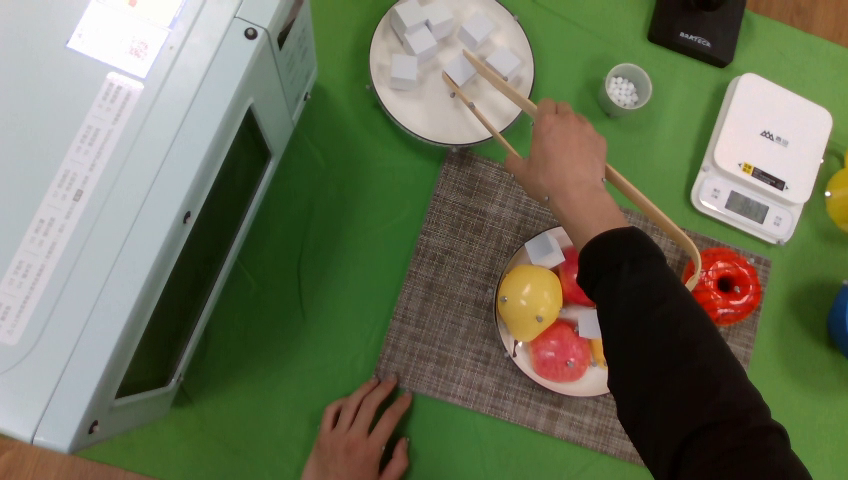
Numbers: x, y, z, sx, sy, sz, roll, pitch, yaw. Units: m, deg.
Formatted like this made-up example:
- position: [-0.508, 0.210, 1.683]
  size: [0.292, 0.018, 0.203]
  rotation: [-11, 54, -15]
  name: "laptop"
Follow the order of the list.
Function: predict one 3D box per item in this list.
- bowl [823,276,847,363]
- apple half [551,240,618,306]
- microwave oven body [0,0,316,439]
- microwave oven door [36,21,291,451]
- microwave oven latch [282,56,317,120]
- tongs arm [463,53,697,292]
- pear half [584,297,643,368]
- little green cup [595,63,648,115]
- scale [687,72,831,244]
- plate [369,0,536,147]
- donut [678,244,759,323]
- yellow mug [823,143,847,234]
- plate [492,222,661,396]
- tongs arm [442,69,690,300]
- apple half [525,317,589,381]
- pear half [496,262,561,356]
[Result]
- position: [0.567, 0.104, 0.765]
  size: [0.152, 0.077, 0.151]
  rotation: [1, 83, -7]
  name: "bowl"
- position: [0.194, 0.038, 0.724]
  size: [0.075, 0.053, 0.080]
  rotation: [7, 84, -3]
  name: "apple half"
- position: [-0.340, -0.090, 0.575]
  size: [0.326, 0.260, 0.440]
  rotation: [22, 81, -4]
  name: "microwave oven body"
- position: [-0.220, 0.002, 0.573]
  size: [0.039, 0.244, 0.354]
  rotation: [21, 80, -4]
  name: "microwave oven door"
- position: [-0.151, -0.183, 0.711]
  size: [0.030, 0.029, 0.079]
  rotation: [24, 80, -4]
  name: "microwave oven latch"
- position: [0.152, -0.093, 0.652]
  size: [0.028, 0.028, 0.383]
  rotation: [-35, 59, -5]
  name: "tongs arm"
- position: [0.229, 0.111, 0.729]
  size: [0.070, 0.031, 0.087]
  rotation: [19, 77, 9]
  name: "pear half"
- position: [0.254, -0.193, 0.785]
  size: [0.061, 0.038, 0.061]
  rotation: [1, 81, -7]
  name: "little green cup"
- position: [0.444, -0.109, 0.801]
  size: [0.149, 0.031, 0.200]
  rotation: [24, 80, -3]
  name: "scale"
- position: [0.034, -0.214, 0.759]
  size: [0.208, 0.039, 0.207]
  rotation: [1, 82, -7]
  name: "plate"
- position: [0.366, 0.055, 0.759]
  size: [0.099, 0.048, 0.098]
  rotation: [1, 82, -5]
  name: "donut"
- position: [0.590, -0.074, 0.798]
  size: [0.100, 0.064, 0.130]
  rotation: [-13, 83, -8]
  name: "yellow mug"
- position: [0.182, 0.082, 0.733]
  size: [0.209, 0.038, 0.208]
  rotation: [1, 82, -8]
  name: "plate"
- position: [0.134, -0.079, 0.652]
  size: [0.051, 0.027, 0.380]
  rotation: [-33, 60, 0]
  name: "tongs arm"
- position: [0.161, 0.129, 0.715]
  size: [0.081, 0.033, 0.081]
  rotation: [2, 75, -9]
  name: "apple half"
- position: [0.122, 0.083, 0.704]
  size: [0.076, 0.056, 0.109]
  rotation: [13, 85, -14]
  name: "pear half"
